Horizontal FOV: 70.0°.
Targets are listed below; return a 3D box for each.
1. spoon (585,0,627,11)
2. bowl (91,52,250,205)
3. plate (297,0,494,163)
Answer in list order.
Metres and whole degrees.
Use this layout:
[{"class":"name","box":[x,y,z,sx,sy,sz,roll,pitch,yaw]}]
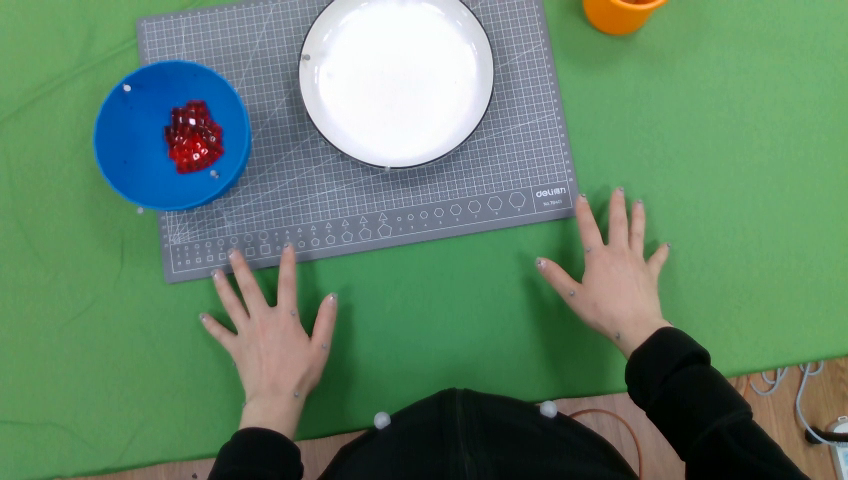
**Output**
[{"class":"spoon","box":[0.250,-0.271,0.607,0.022,0.192,0.041,8,84,-43]},{"class":"bowl","box":[-0.244,-0.104,0.618,0.151,0.077,0.151,0,84,-1]},{"class":"plate","box":[-0.029,-0.183,0.648,0.209,0.038,0.208,0,84,0]}]
